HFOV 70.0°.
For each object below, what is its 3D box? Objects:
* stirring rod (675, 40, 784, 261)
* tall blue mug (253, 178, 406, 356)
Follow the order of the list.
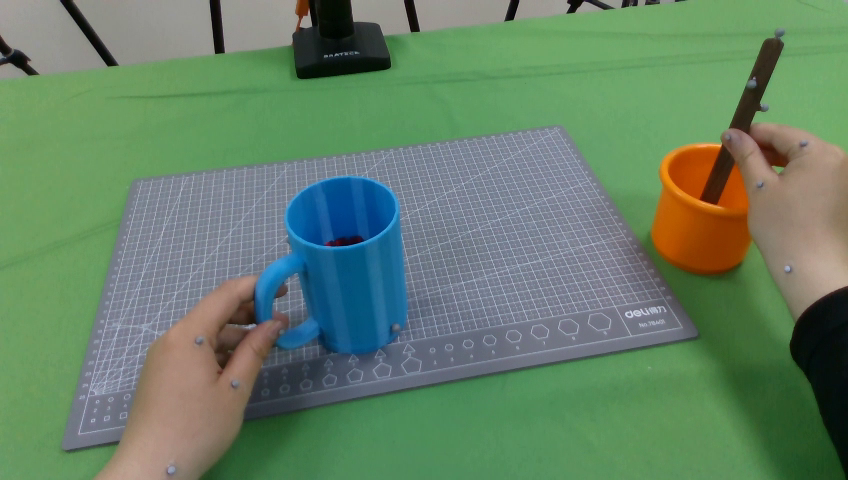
[{"bbox_3d":[0.229,-0.061,0.460,0.014,0.177,0.006,24,31,23],"label":"stirring rod"},{"bbox_3d":[-0.059,0.031,0.424,0.077,0.109,0.106,13,45,15],"label":"tall blue mug"}]
